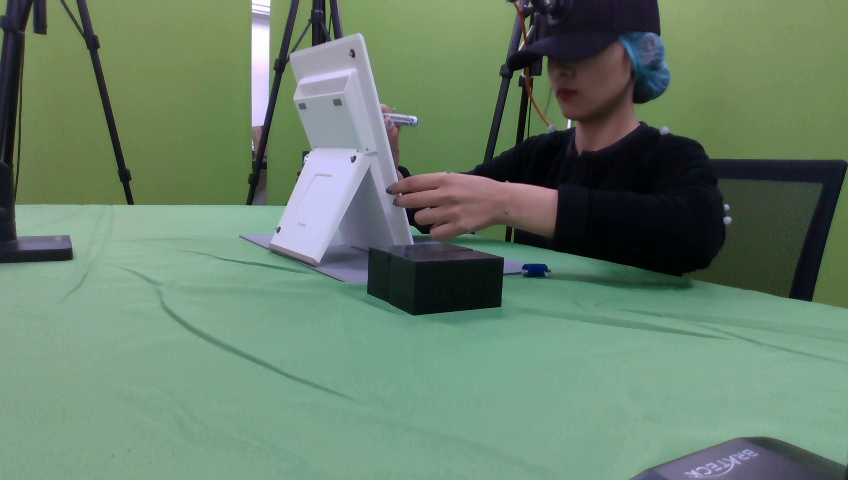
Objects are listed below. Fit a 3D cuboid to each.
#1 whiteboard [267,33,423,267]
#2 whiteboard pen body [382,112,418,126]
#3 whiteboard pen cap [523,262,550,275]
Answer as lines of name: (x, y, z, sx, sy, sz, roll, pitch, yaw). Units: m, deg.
whiteboard: (-0.153, -0.098, 0.818, 0.144, 0.305, 0.216, -25, 21, -29)
whiteboard pen body: (-0.047, -0.172, 0.853, 0.017, 0.017, 0.141, 6, 10, 29)
whiteboard pen cap: (0.145, 0.037, 0.776, 0.033, 0.018, 0.018, 1, 6, -30)
